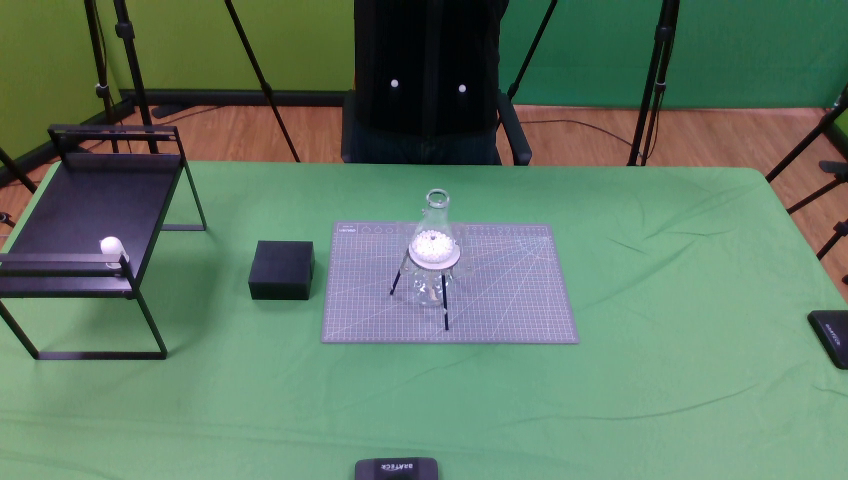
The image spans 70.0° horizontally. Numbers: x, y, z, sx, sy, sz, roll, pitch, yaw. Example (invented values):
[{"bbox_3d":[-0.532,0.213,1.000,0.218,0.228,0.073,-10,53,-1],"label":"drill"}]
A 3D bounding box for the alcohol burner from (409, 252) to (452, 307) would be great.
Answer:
[{"bbox_3d":[0.013,0.063,1.071,0.078,0.119,0.077,4,45,-3],"label":"alcohol burner"}]

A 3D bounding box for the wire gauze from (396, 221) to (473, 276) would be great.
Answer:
[{"bbox_3d":[0.016,0.014,1.014,0.125,0.011,0.120,-1,45,-3],"label":"wire gauze"}]

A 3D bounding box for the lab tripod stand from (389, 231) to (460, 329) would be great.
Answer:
[{"bbox_3d":[0.015,0.063,1.058,0.148,0.132,0.147,4,46,-4],"label":"lab tripod stand"}]

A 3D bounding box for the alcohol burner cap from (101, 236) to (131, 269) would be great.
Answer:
[{"bbox_3d":[-0.452,0.016,0.883,0.034,0.048,0.033,2,45,-2],"label":"alcohol burner cap"}]

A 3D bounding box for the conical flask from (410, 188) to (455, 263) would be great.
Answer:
[{"bbox_3d":[0.017,-0.027,0.971,0.075,0.122,0.075,2,48,-3],"label":"conical flask"}]
